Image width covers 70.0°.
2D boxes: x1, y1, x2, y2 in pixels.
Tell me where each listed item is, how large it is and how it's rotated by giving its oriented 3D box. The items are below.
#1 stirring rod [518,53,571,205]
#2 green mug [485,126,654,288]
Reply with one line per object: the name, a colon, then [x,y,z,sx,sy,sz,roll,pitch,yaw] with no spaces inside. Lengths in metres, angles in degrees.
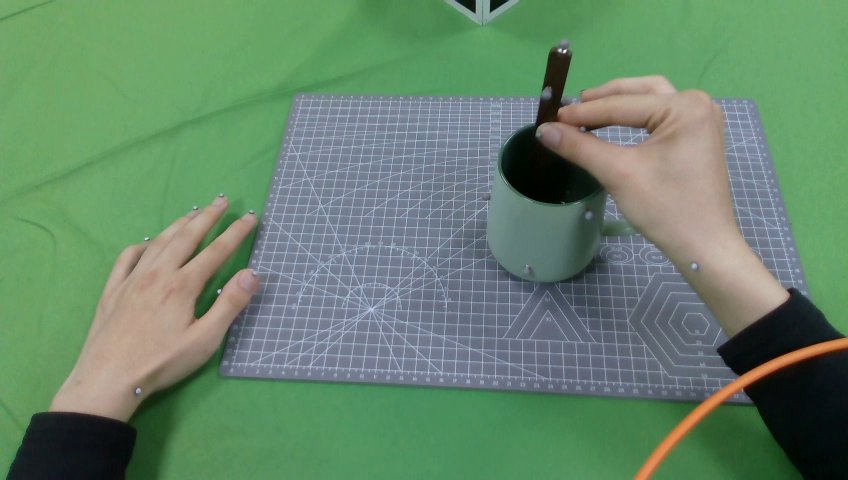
stirring rod: [0.081,-0.066,0.426,0.014,0.177,0.006,15,65,9]
green mug: [0.110,-0.022,0.463,0.125,0.106,0.092,3,58,6]
